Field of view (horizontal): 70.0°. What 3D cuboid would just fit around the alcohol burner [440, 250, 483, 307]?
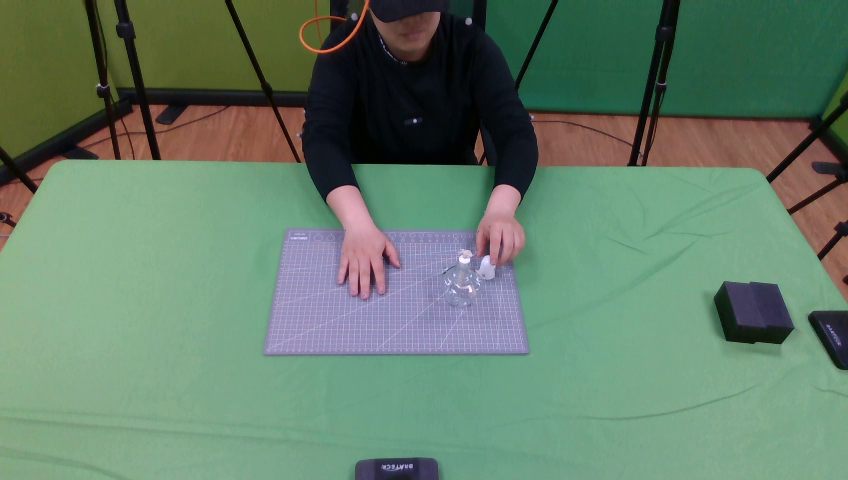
[{"bbox_3d":[0.068,0.064,1.076,0.078,0.120,0.077,1,45,-1],"label":"alcohol burner"}]

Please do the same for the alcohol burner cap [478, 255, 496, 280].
[{"bbox_3d":[0.121,0.050,1.143,0.034,0.048,0.033,1,45,-1],"label":"alcohol burner cap"}]
